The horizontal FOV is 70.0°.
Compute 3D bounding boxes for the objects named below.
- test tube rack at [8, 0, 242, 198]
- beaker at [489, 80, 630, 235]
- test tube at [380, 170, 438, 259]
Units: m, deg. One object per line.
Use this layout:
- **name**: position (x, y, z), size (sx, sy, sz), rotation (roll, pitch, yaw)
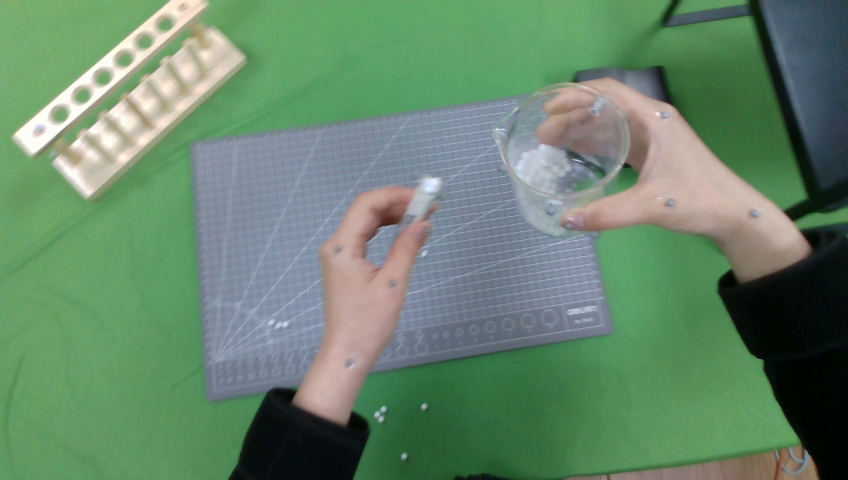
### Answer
- **test tube rack**: position (-0.330, -0.165, 0.690), size (0.066, 0.085, 0.242), rotation (42, 80, 9)
- **beaker**: position (0.088, -0.048, 0.403), size (0.083, 0.101, 0.074), rotation (16, 79, 16)
- **test tube**: position (-0.014, -0.013, 0.445), size (0.017, 0.150, 0.017), rotation (4, 70, -12)
